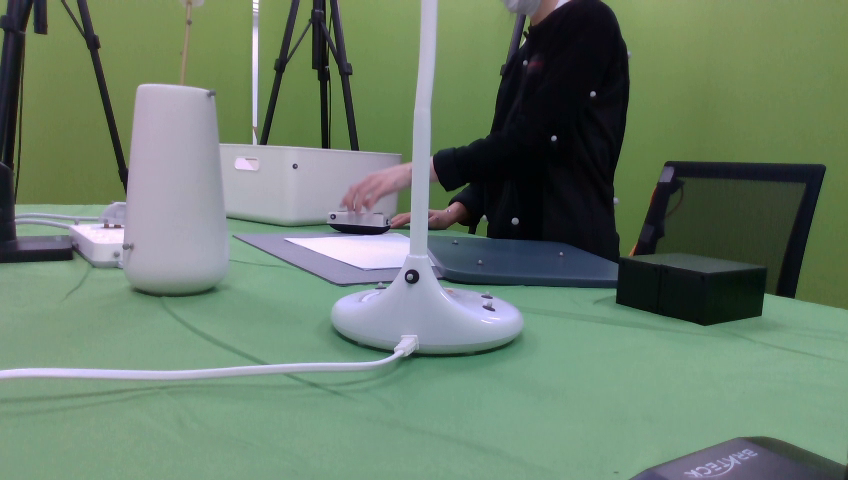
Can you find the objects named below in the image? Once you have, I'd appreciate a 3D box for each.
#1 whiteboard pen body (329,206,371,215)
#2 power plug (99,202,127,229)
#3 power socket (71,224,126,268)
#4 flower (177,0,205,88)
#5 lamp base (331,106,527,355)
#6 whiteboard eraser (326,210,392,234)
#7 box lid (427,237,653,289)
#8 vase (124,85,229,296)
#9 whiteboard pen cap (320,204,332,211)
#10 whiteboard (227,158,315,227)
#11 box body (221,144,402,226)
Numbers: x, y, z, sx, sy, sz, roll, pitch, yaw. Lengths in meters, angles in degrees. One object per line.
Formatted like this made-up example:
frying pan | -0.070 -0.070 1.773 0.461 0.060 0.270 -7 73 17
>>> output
whiteboard pen body | -0.189 -0.075 1.522 0.140 0.017 0.017 8 9 36
power plug | -0.415 -0.026 0.848 0.073 0.052 0.035 6 5 -28
power socket | -0.409 0.004 0.793 0.072 0.032 0.225 -2 8 -37
flower | -0.243 -0.131 0.609 0.044 0.361 0.038 -5 -12 12
lamp base | 0.006 -0.012 0.478 0.161 0.180 0.179 2 10 2
whiteboard eraser | -0.121 -0.033 1.131 0.112 0.042 0.056 5 9 13
box lid | 0.139 0.028 0.886 0.264 0.015 0.371 2 7 -6
vase | -0.244 -0.047 0.598 0.098 0.200 0.098 3 8 0
whiteboard pen cap | -0.247 -0.082 1.532 0.033 0.018 0.018 8 10 39
whiteboard | -0.265 -0.117 1.373 0.216 0.143 0.307 5 8 36
box body | -0.254 -0.128 1.379 0.253 0.160 0.366 8 9 36
